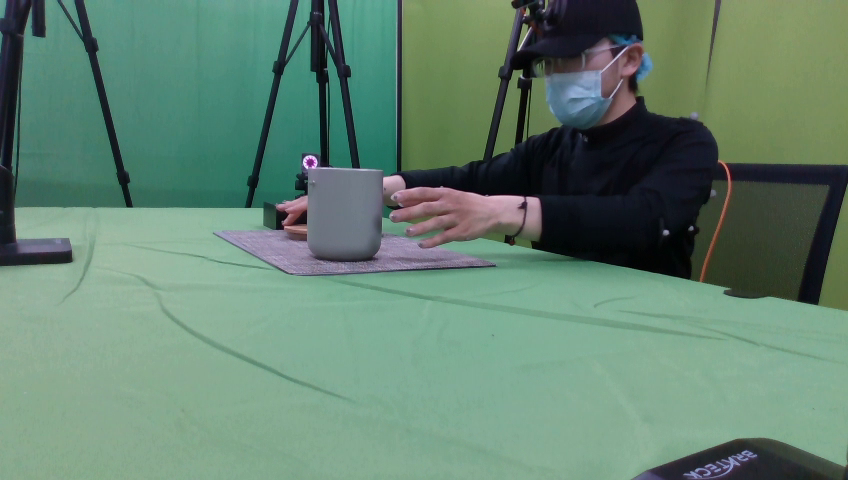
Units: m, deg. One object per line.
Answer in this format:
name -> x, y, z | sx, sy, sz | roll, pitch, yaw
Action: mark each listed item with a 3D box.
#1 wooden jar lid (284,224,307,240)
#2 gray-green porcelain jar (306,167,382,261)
wooden jar lid -> -0.190, -0.014, 1.057 | 0.108, 0.020, 0.108 | 2, 6, 0
gray-green porcelain jar -> -0.112, -0.039, 0.850 | 0.106, 0.126, 0.106 | 2, 7, 0
